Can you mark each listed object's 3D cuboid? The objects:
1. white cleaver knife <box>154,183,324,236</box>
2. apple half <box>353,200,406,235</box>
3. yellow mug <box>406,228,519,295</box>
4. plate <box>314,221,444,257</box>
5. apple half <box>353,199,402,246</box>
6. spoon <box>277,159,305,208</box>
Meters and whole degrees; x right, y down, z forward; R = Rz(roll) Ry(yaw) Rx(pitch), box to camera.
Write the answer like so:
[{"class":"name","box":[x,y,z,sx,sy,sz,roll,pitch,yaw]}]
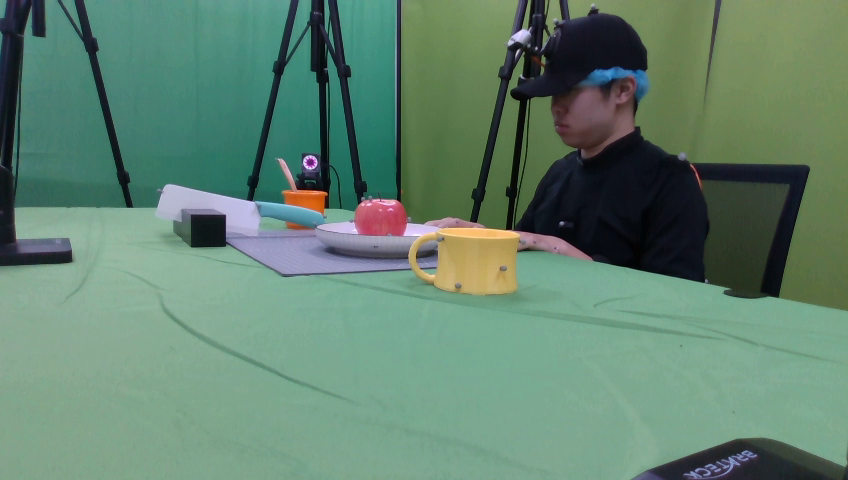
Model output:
[{"class":"white cleaver knife","box":[-0.310,-0.042,1.049,0.288,0.066,0.021,10,4,-28]},{"class":"apple half","box":[-0.064,-0.023,0.909,0.081,0.074,0.053,3,11,-17]},{"class":"yellow mug","box":[0.044,0.022,0.707,0.131,0.064,0.100,2,7,4]},{"class":"plate","box":[-0.067,-0.002,0.948,0.209,0.038,0.209,3,7,0]},{"class":"apple half","box":[-0.076,-0.029,0.946,0.081,0.081,0.032,0,12,-18]},{"class":"spoon","box":[-0.272,-0.103,1.260,0.042,0.193,0.021,-4,-34,-33]}]
